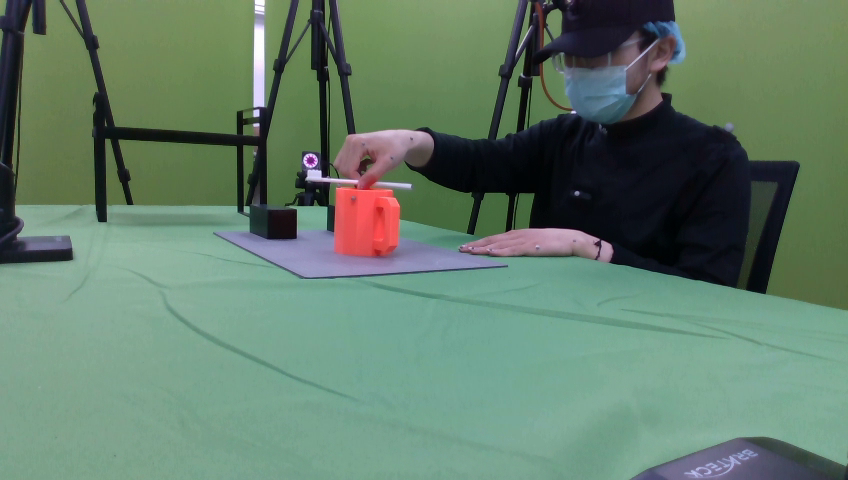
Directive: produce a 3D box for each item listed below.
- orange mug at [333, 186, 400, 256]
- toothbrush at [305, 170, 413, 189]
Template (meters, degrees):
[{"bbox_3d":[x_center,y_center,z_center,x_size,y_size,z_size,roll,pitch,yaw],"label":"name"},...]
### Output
[{"bbox_3d":[-0.080,-0.029,0.888,0.084,0.100,0.125,-3,5,-40],"label":"orange mug"},{"bbox_3d":[-0.095,-0.091,0.928,0.183,0.016,0.014,2,-5,-33],"label":"toothbrush"}]
